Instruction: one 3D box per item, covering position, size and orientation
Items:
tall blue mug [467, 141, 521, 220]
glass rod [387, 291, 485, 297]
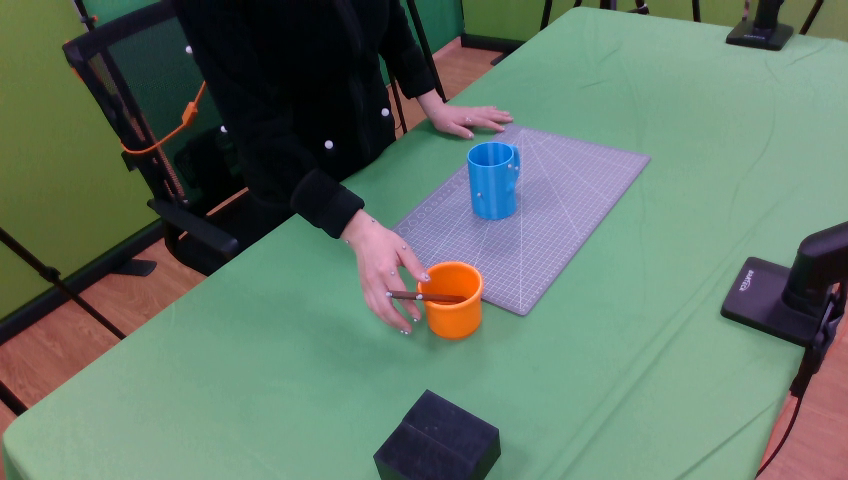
[{"bbox_3d":[0.119,-0.109,1.020,0.077,0.108,0.107,3,42,15],"label":"tall blue mug"},{"bbox_3d":[0.023,0.073,0.808,0.008,0.008,0.201,31,16,38],"label":"glass rod"}]
